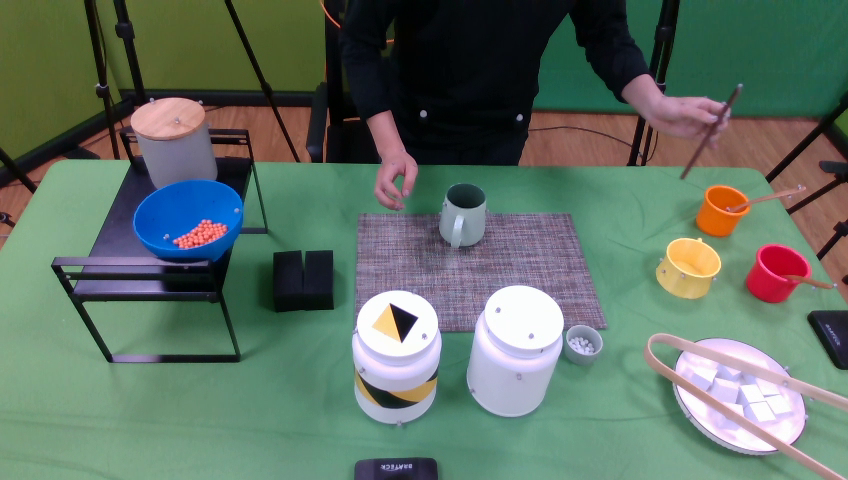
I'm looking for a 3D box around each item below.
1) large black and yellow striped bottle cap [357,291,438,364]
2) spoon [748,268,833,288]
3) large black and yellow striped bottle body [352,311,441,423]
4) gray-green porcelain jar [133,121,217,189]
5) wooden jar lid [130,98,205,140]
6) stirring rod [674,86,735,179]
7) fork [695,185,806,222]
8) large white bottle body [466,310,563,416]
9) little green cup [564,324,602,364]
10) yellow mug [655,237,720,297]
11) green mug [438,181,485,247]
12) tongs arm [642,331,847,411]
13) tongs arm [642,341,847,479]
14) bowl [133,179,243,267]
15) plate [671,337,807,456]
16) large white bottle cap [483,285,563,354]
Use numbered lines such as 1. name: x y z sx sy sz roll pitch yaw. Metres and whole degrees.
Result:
1. large black and yellow striped bottle cap: -0.037 0.121 0.851 0.115 0.019 0.114 2 46 -1
2. spoon: 0.660 0.068 1.097 0.041 0.193 0.021 -5 92 -6
3. large black and yellow striped bottle body: -0.042 0.177 0.913 0.131 0.185 0.130 2 47 -2
4. gray-green porcelain jar: -0.397 -0.141 0.980 0.106 0.127 0.105 2 47 -2
5. wooden jar lid: -0.393 -0.183 0.934 0.108 0.021 0.107 3 44 -2
6. stirring rod: 0.483 -0.184 1.047 0.006 0.176 0.014 21 24 -9
7. fork: 0.657 -0.074 1.230 0.207 0.019 0.028 -23 34 37
8. large white bottle body: 0.138 0.171 0.932 0.131 0.185 0.130 2 46 -2
9. little green cup: 0.269 0.180 1.035 0.061 0.039 0.061 2 45 -2
10. yellow mug: 0.509 0.041 1.167 0.099 0.064 0.130 24 48 18
11. green mug: 0.071 -0.039 1.178 0.092 0.105 0.124 12 47 7
12. tongs arm: 0.546 0.227 0.968 0.384 0.026 0.050 22 52 13
13. tongs arm: 0.504 0.278 0.917 0.386 0.028 0.028 34 58 22
14. bowl: -0.339 -0.013 0.895 0.151 0.077 0.150 2 46 -2
15. plate: 0.504 0.254 0.984 0.208 0.039 0.206 2 46 -2
16. large white bottle cap: 0.142 0.112 0.871 0.115 0.018 0.114 3 46 -2
